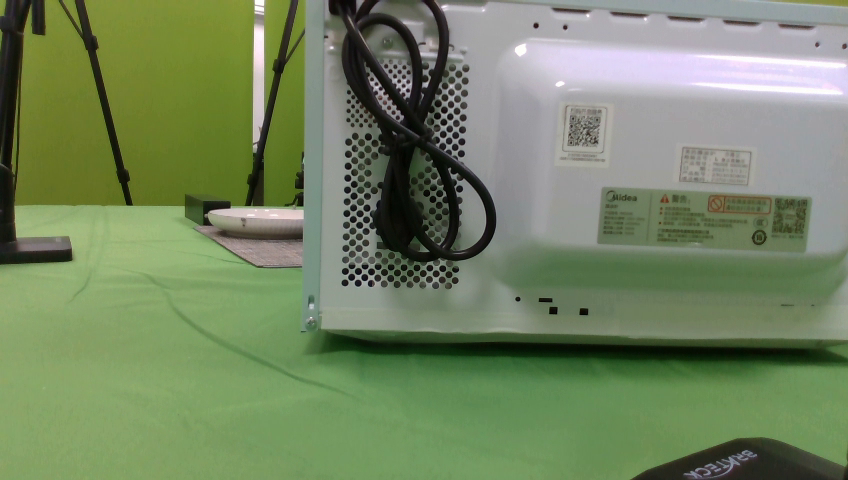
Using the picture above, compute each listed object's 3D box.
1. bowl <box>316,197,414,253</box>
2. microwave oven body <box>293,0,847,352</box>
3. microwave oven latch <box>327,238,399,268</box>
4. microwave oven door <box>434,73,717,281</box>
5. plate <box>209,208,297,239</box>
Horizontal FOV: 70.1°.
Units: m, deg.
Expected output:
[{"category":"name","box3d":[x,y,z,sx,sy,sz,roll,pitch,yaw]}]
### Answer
[{"category":"bowl","box3d":[-0.092,-0.022,0.931,0.151,0.077,0.151,3,7,0]},{"category":"microwave oven body","box3d":[0.122,-0.055,0.550,0.442,0.260,0.325,3,7,-5]},{"category":"microwave oven latch","box3d":[-0.069,0.015,0.694,0.079,0.029,0.030,3,7,-3]},{"category":"microwave oven door","box3d":[0.180,-0.089,0.794,0.354,0.243,0.039,7,7,30]},{"category":"plate","box3d":[-0.271,-0.029,1.074,0.208,0.039,0.207,3,7,0]}]
